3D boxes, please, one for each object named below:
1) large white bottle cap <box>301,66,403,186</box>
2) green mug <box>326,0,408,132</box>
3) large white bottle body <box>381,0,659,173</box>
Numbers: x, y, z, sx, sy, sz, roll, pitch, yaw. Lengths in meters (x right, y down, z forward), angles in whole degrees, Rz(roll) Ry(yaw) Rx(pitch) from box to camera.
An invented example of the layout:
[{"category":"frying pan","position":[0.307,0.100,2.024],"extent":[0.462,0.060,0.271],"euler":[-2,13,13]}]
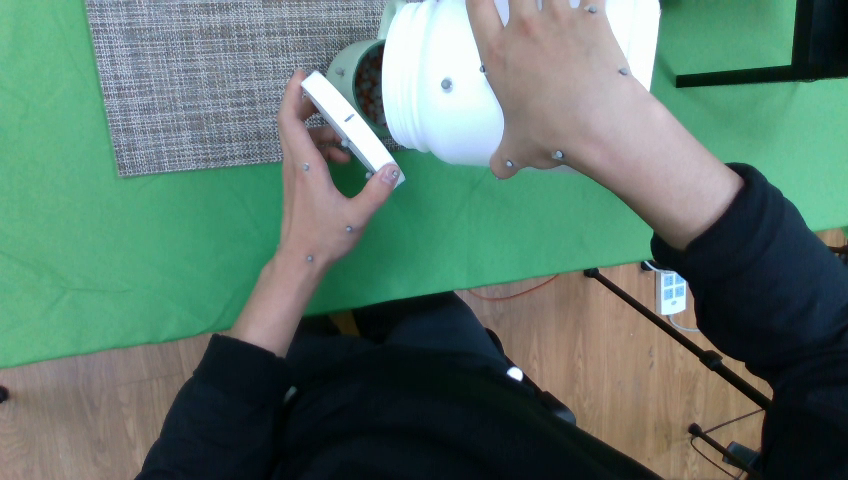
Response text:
[{"category":"large white bottle cap","position":[-0.059,-0.094,0.508],"extent":[0.018,0.114,0.116],"euler":[-40,112,-1]},{"category":"green mug","position":[-0.037,-0.164,0.566],"extent":[0.093,0.104,0.125],"euler":[8,99,-21]},{"category":"large white bottle body","position":[0.072,-0.122,0.457],"extent":[0.184,0.130,0.131],"euler":[7,101,17]}]
